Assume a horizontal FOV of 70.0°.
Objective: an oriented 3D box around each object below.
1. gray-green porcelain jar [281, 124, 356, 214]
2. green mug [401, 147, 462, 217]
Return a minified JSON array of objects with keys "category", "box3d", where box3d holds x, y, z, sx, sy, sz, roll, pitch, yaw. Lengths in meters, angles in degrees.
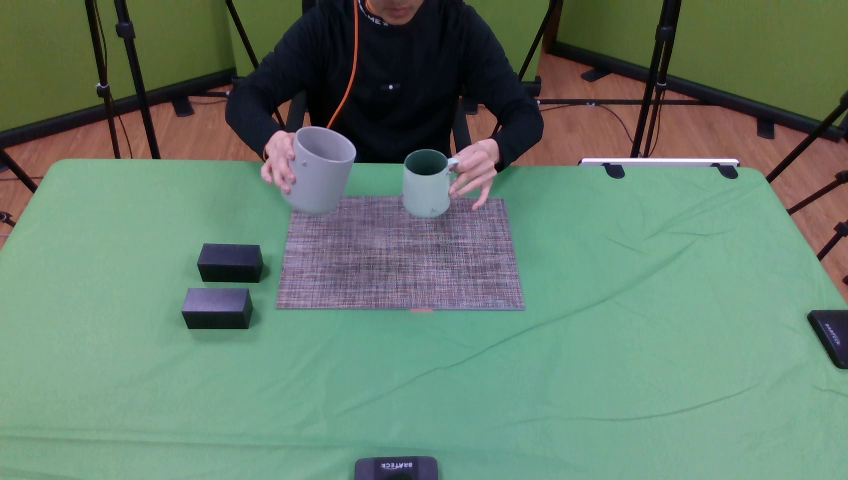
[{"category":"gray-green porcelain jar","box3d":[-0.185,-0.118,1.046,0.106,0.127,0.105,17,35,-12]},{"category":"green mug","box3d":[0.016,-0.111,1.116,0.125,0.105,0.092,-25,51,-22]}]
